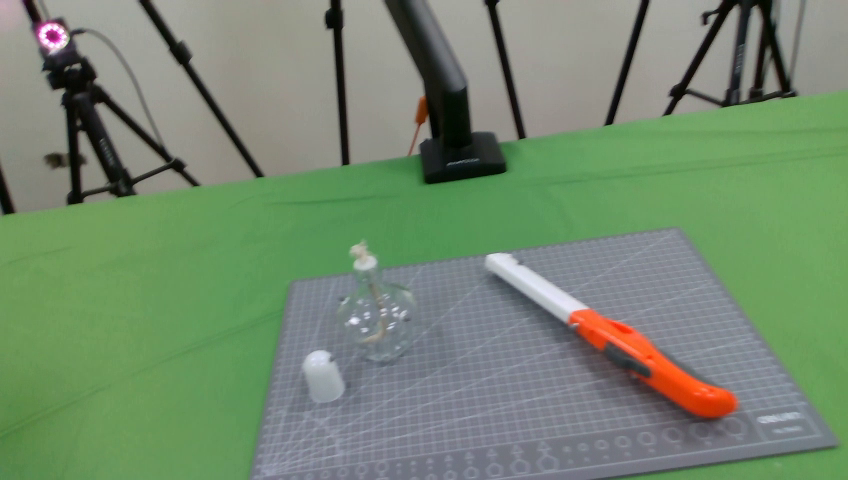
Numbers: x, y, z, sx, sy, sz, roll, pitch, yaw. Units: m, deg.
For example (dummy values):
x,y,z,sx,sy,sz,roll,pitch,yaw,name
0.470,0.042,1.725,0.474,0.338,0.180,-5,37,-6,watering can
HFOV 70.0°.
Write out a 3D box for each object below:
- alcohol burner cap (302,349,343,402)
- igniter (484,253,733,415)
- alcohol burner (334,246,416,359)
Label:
x,y,z,sx,sy,sz,roll,pitch,yaw,name
-0.093,0.118,0.543,0.034,0.048,0.033,-6,35,4,alcohol burner cap
0.151,0.075,0.559,0.057,0.025,0.273,-4,25,-35,igniter
-0.048,0.053,0.564,0.078,0.120,0.077,-4,36,4,alcohol burner
